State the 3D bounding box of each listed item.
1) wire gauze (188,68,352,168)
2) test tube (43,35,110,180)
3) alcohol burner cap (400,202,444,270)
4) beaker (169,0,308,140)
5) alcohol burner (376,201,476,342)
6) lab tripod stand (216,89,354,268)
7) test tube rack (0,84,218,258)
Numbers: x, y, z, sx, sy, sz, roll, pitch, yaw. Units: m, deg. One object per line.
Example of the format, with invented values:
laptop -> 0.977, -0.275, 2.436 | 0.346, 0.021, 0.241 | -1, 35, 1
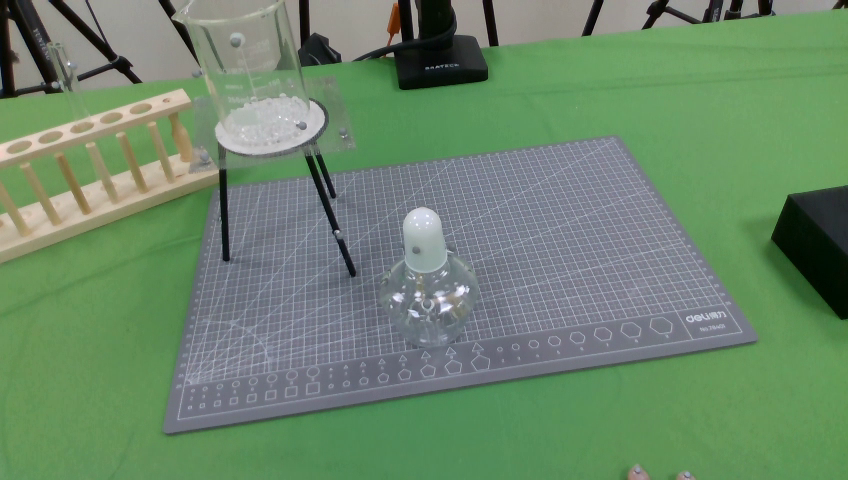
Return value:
wire gauze -> -0.127, -0.099, 0.488 | 0.125, 0.011, 0.120 | -14, 41, -5
test tube -> -0.340, -0.126, 0.598 | 0.017, 0.151, 0.017 | 0, 36, 1
alcohol burner cap -> -0.003, -0.006, 0.434 | 0.034, 0.048, 0.033 | -3, 45, 4
beaker -> -0.133, -0.133, 0.452 | 0.084, 0.101, 0.073 | -7, 42, 0
alcohol burner -> 0.001, 0.021, 0.459 | 0.078, 0.120, 0.077 | -2, 41, 2
lab tripod stand -> -0.122, -0.051, 0.533 | 0.148, 0.133, 0.147 | -3, 45, 3
test tube rack -> -0.344, -0.071, 0.613 | 0.242, 0.086, 0.066 | -25, 46, -21
